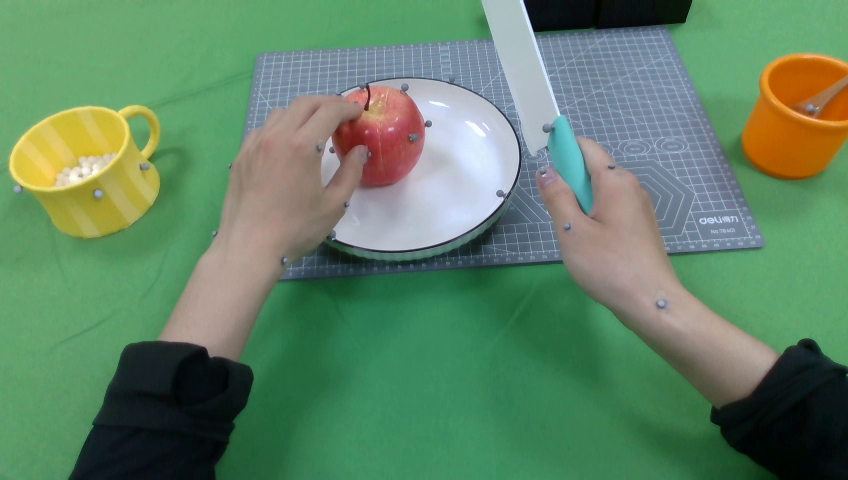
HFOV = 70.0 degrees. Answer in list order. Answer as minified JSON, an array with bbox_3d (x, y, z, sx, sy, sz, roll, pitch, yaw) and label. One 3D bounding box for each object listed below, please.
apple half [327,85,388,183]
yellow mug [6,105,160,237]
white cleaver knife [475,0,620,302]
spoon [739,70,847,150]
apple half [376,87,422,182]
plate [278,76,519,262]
[{"bbox_3d":[-0.056,-0.091,0.525,0.053,0.075,0.080,3,58,9],"label":"apple half"},{"bbox_3d":[-0.289,-0.072,0.542,0.099,0.064,0.130,26,59,20],"label":"yellow mug"},{"bbox_3d":[0.082,-0.093,0.437,0.021,0.066,0.286,-18,90,-13],"label":"white cleaver knife"},{"bbox_3d":[0.359,-0.138,0.504,0.022,0.194,0.041,24,42,-35],"label":"spoon"},{"bbox_3d":[-0.017,-0.089,0.520,0.033,0.082,0.080,1,55,10],"label":"apple half"},{"bbox_3d":[-0.022,-0.064,0.536,0.209,0.038,0.207,-1,55,2],"label":"plate"}]
